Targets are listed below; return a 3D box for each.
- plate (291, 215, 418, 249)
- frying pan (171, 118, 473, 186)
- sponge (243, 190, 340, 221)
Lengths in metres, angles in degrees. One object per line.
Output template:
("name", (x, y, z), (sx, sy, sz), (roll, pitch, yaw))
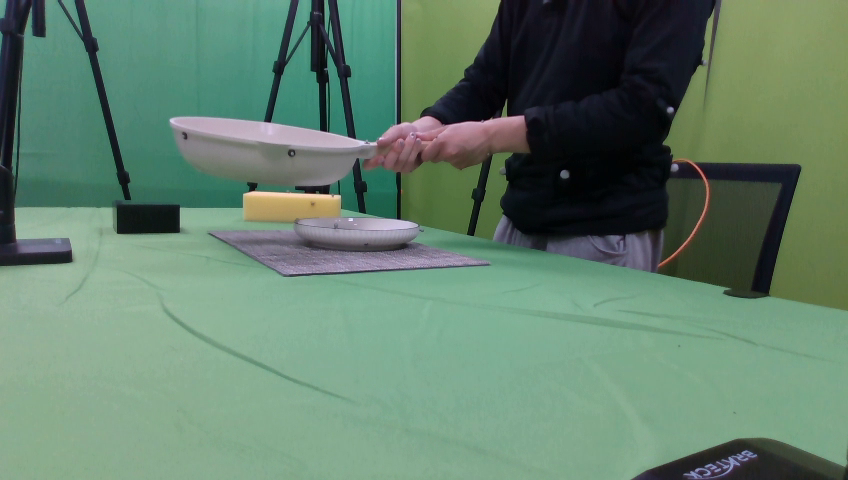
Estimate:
("plate", (-0.115, -0.013, 1.001), (0.208, 0.039, 0.207), (2, 7, 0))
("frying pan", (-0.149, -0.153, 1.000), (0.489, 0.102, 0.305), (-5, 18, -14))
("sponge", (-0.298, -0.077, 1.388), (0.207, 0.061, 0.118), (2, 8, -7))
